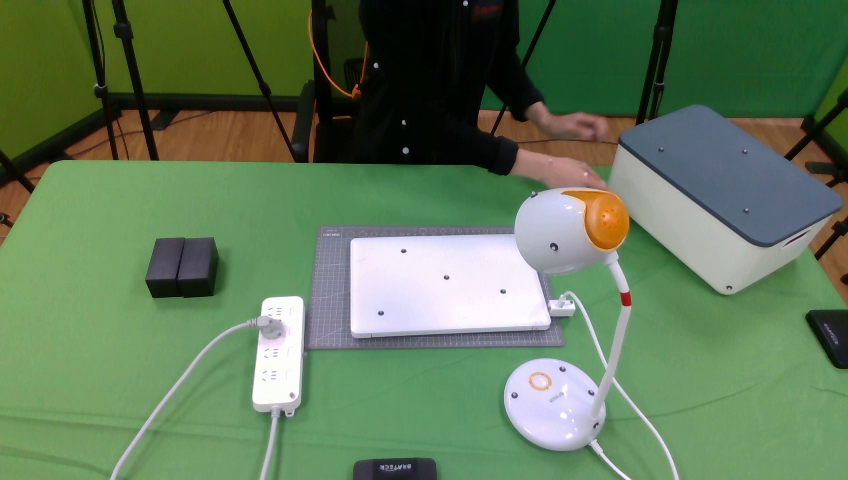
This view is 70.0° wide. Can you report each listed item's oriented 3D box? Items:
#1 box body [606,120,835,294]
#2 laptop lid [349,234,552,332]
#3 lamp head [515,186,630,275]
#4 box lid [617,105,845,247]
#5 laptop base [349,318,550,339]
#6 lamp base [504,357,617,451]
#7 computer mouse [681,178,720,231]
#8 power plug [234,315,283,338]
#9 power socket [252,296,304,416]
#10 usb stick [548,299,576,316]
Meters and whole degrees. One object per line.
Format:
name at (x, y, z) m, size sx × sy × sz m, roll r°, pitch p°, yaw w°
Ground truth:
box body at (0.582, -0.088, 1.230) m, size 0.254 × 0.161 × 0.361 m, roll -22°, pitch 52°, yaw -23°
laptop lid at (0.040, 0.071, 1.118) m, size 0.357 × 0.013 × 0.240 m, roll 0°, pitch 44°, yaw -5°
lamp head at (0.188, -0.013, 0.728) m, size 0.112 × 0.112 × 0.122 m, roll -25°, pitch 9°, yaw -25°
box lid at (0.586, -0.138, 1.176) m, size 0.263 × 0.015 × 0.369 m, roll -22°, pitch 51°, yaw -23°
laptop base at (0.039, 0.081, 1.124) m, size 0.355 × 0.023 × 0.234 m, roll -2°, pitch 43°, yaw -6°
lamp base at (0.220, 0.211, 0.903) m, size 0.160 × 0.181 × 0.178 m, roll -33°, pitch 59°, yaw -30°
computer mouse at (0.596, -0.078, 1.290) m, size 0.117 × 0.041 × 0.062 m, roll 56°, pitch 46°, yaw -7°
power plug at (-0.269, 0.143, 1.000) m, size 0.072 × 0.053 × 0.035 m, roll 4°, pitch 47°, yaw 3°
power socket at (-0.238, 0.181, 0.997) m, size 0.072 × 0.033 × 0.225 m, roll -3°, pitch 47°, yaw -5°
usb stick at (0.239, 0.121, 1.084) m, size 0.059 × 0.027 × 0.021 m, roll -1°, pitch 51°, yaw -1°
